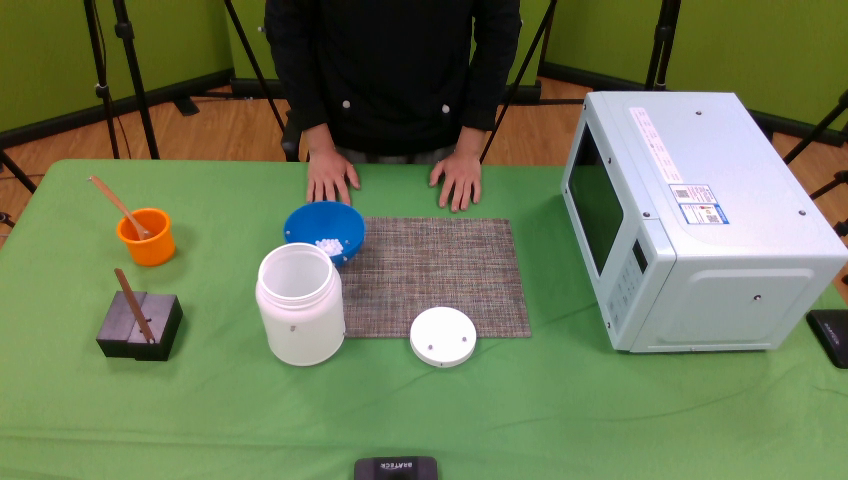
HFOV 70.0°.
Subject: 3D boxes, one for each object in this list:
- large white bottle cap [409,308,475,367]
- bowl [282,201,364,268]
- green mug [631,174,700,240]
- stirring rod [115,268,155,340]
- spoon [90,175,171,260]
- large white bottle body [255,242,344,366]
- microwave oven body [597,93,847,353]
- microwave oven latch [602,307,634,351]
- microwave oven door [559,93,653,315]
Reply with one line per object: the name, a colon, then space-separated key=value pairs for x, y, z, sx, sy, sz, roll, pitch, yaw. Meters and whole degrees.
large white bottle cap: x=0.031 y=0.165 z=1.041 sx=0.115 sy=0.018 sz=0.114 roll=2 pitch=46 yaw=-2
bowl: x=-0.187 y=0.005 z=1.137 sx=0.151 sy=0.077 sz=0.150 roll=3 pitch=46 yaw=-3
green mug: x=0.455 y=-0.058 z=1.155 sx=0.125 sy=0.105 sz=0.092 roll=-13 pitch=46 yaw=-10
stirring rod: x=-0.479 y=0.103 z=0.999 sx=0.014 sy=0.006 sz=0.175 roll=7 pitch=32 yaw=-49
spoon: x=-0.539 y=-0.042 z=1.111 sx=0.021 sy=0.194 sz=0.041 roll=-13 pitch=27 yaw=52
large white bottle body: x=-0.196 y=0.102 z=0.967 sx=0.131 sy=0.185 sz=0.130 roll=2 pitch=49 yaw=-2
microwave oven body: x=0.475 y=-0.041 z=1.110 sx=0.326 sy=0.261 sz=0.438 roll=-1 pitch=45 yaw=-4
microwave oven latch: x=0.332 y=0.153 z=1.044 sx=0.030 sy=0.029 sz=0.078 roll=-1 pitch=45 yaw=-4
microwave oven door: x=0.327 y=-0.074 z=1.123 sx=0.039 sy=0.245 sz=0.353 roll=-1 pitch=46 yaw=-5
